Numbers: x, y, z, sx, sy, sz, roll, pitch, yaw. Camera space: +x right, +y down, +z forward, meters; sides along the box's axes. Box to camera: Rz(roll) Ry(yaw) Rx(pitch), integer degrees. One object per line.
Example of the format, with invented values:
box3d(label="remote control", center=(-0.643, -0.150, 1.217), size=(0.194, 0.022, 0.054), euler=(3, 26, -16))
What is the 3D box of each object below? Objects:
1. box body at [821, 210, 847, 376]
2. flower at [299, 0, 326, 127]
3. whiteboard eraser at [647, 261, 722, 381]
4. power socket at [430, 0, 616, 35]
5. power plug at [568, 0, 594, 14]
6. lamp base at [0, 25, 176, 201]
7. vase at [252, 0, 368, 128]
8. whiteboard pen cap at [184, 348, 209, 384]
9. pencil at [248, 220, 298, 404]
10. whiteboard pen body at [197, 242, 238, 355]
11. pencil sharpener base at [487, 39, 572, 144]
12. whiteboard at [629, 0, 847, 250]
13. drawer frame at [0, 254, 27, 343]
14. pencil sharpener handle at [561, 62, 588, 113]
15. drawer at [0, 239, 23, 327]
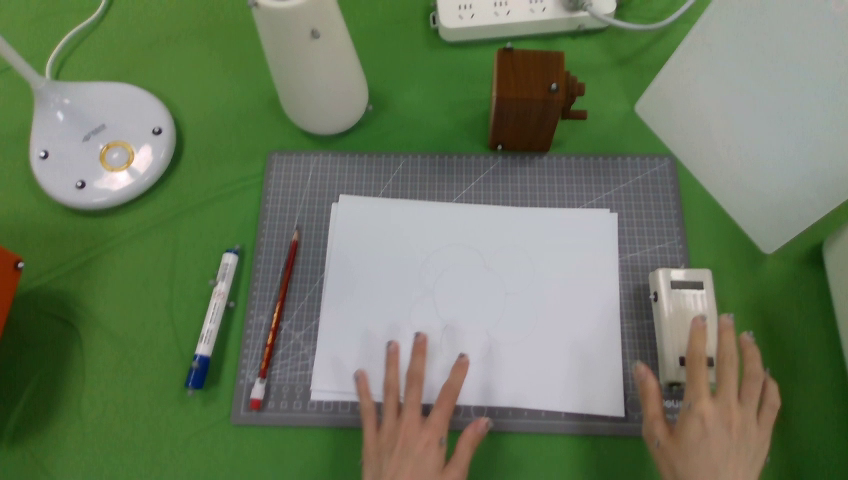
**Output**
box3d(label="box body", center=(0.512, 0.119, 0.492), size=(0.254, 0.161, 0.361), euler=(0, 70, 2))
box3d(label="flower", center=(-0.112, -0.245, 0.539), size=(0.038, 0.365, 0.043), euler=(-11, 51, -10))
box3d(label="whiteboard eraser", center=(0.246, 0.077, 0.578), size=(0.055, 0.042, 0.112), euler=(2, 70, 0))
box3d(label="power socket", center=(0.120, -0.290, 0.725), size=(0.227, 0.033, 0.071), euler=(-4, 70, 0))
box3d(label="power plug", center=(0.173, -0.275, 0.693), size=(0.035, 0.053, 0.072), euler=(5, 71, 4))
box3d(label="lamp base", center=(-0.372, -0.150, 0.610), size=(0.178, 0.181, 0.160), euler=(33, 73, 16))
box3d(label="vase", center=(-0.116, -0.199, 0.610), size=(0.098, 0.201, 0.097), euler=(-1, 69, 3))
box3d(label="whiteboard pen cap", center=(-0.218, 0.121, 0.584), size=(0.018, 0.018, 0.033), euler=(5, 64, 4))
box3d(label="pencil", center=(-0.149, 0.067, 0.611), size=(0.012, 0.012, 0.193), euler=(7, 69, 5))
box3d(label="whiteboard pen body", center=(-0.209, 0.067, 0.608), size=(0.017, 0.017, 0.140), euler=(5, 66, 4))
box3d(label="pencil sharpener base", center=(0.108, -0.152, 0.635), size=(0.076, 0.108, 0.061), euler=(3, 69, 3))
box3d(label="whiteboard", center=(0.383, -0.173, 0.561), size=(0.144, 0.307, 0.215), euler=(-23, 69, -27))
box3d(label="drawer frame", center=(-0.504, 0.084, 0.535), size=(0.213, 0.083, 0.200), euler=(4, 70, 1))
box3d(label="pencil sharpener handle", center=(0.158, -0.153, 0.621), size=(0.030, 0.068, 0.035), euler=(3, 68, 3))
box3d(label="drawer", center=(-0.498, 0.082, 0.532), size=(0.212, 0.074, 0.193), euler=(4, 71, 3))
